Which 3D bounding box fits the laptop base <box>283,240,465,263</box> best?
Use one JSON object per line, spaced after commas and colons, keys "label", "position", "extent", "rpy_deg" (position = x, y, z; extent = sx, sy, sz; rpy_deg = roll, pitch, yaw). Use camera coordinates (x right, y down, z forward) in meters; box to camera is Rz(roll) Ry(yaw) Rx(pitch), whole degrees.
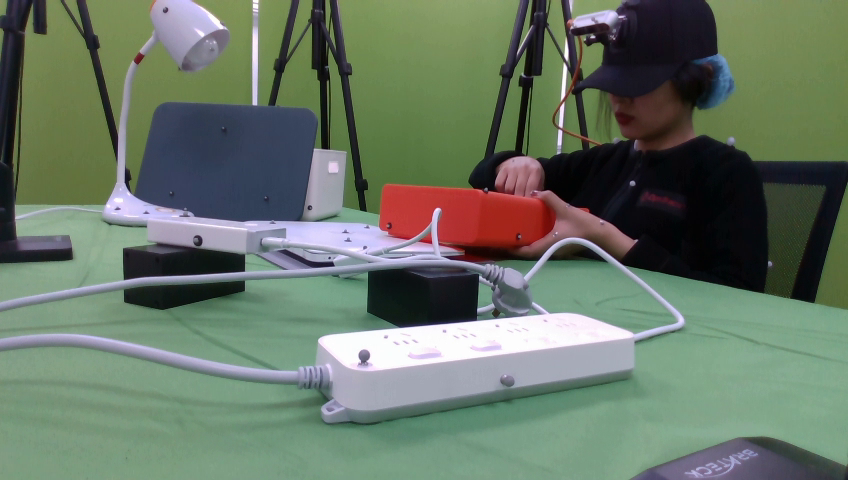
{"label": "laptop base", "position": [-0.125, 0.003, 0.946], "extent": [0.237, 0.023, 0.352], "rpy_deg": [1, 6, -31]}

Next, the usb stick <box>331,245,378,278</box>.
{"label": "usb stick", "position": [-0.085, 0.026, 0.701], "extent": [0.059, 0.027, 0.021], "rpy_deg": [-18, 19, 27]}

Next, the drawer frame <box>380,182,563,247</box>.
{"label": "drawer frame", "position": [0.076, -0.040, 0.954], "extent": [0.200, 0.082, 0.215], "rpy_deg": [8, 4, 42]}

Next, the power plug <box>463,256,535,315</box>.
{"label": "power plug", "position": [0.064, 0.039, 0.530], "extent": [0.072, 0.052, 0.035], "rpy_deg": [31, 43, 7]}

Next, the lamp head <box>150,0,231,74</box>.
{"label": "lamp head", "position": [-0.432, -0.375, 1.086], "extent": [0.123, 0.112, 0.112], "rpy_deg": [42, 8, -3]}

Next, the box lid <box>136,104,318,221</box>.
{"label": "box lid", "position": [-0.411, -0.162, 1.266], "extent": [0.371, 0.263, 0.015], "rpy_deg": [3, -15, 9]}

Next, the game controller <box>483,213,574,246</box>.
{"label": "game controller", "position": [0.178, -0.022, 1.062], "extent": [0.154, 0.051, 0.098], "rpy_deg": [6, 3, 43]}

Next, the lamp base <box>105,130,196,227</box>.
{"label": "lamp base", "position": [-0.532, -0.120, 1.153], "extent": [0.179, 0.180, 0.161], "rpy_deg": [1, 7, 8]}

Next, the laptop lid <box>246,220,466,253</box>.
{"label": "laptop lid", "position": [-0.123, -0.009, 0.945], "extent": [0.243, 0.013, 0.355], "rpy_deg": [1, 7, -29]}

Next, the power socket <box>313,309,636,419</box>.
{"label": "power socket", "position": [0.039, 0.072, 0.384], "extent": [0.228, 0.032, 0.072], "rpy_deg": [-2, 7, -28]}

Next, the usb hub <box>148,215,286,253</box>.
{"label": "usb hub", "position": [-0.197, -0.006, 0.575], "extent": [0.125, 0.025, 0.050], "rpy_deg": [6, 7, 22]}

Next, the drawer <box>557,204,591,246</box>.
{"label": "drawer", "position": [0.145, -0.034, 1.028], "extent": [0.193, 0.073, 0.213], "rpy_deg": [7, 4, 44]}

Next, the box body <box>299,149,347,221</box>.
{"label": "box body", "position": [-0.384, -0.137, 1.407], "extent": [0.364, 0.160, 0.254], "rpy_deg": [3, 8, 7]}
